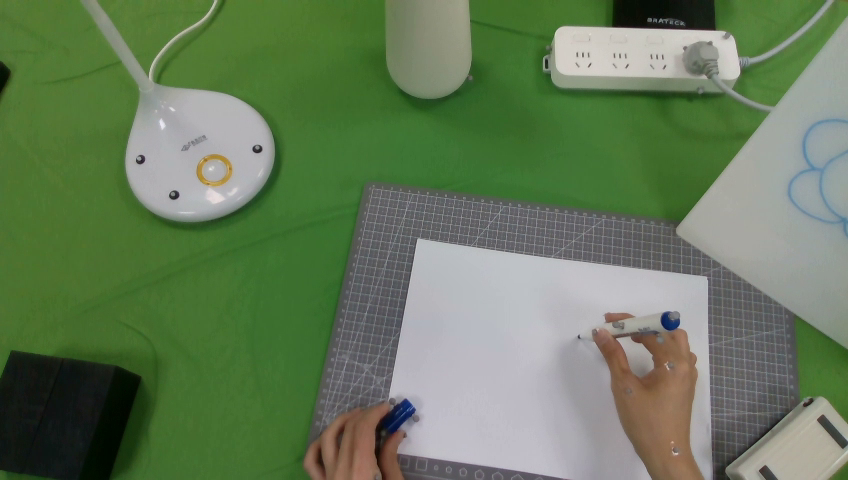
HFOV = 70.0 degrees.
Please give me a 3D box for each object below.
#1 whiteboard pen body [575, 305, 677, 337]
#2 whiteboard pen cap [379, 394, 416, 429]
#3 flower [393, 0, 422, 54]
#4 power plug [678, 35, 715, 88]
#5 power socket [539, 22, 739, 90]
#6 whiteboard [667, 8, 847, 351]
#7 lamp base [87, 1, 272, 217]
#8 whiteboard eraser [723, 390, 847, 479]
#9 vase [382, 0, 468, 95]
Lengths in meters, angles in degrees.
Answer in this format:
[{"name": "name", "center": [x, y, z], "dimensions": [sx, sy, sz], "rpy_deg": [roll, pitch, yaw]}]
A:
[{"name": "whiteboard pen body", "center": [0.170, 0.073, 0.530], "dimensions": [0.017, 0.141, 0.017], "rpy_deg": [4, 75, -16]}, {"name": "whiteboard pen cap", "center": [-0.024, 0.159, 0.562], "dimensions": [0.033, 0.018, 0.018], "rpy_deg": [-39, 71, -22]}, {"name": "flower", "center": [0.015, -0.263, 0.549], "dimensions": [0.044, 0.362, 0.038], "rpy_deg": [-34, 88, -21]}, {"name": "power plug", "center": [0.298, -0.192, 0.670], "dimensions": [0.035, 0.053, 0.072], "rpy_deg": [12, 75, 6]}, {"name": "power socket", "center": [0.250, -0.214, 0.703], "dimensions": [0.227, 0.033, 0.071], "rpy_deg": [3, 69, 1]}, {"name": "whiteboard", "center": [0.411, -0.077, 0.532], "dimensions": [0.216, 0.307, 0.143], "rpy_deg": [38, 52, 16]}, {"name": "lamp base", "center": [-0.259, -0.135, 0.599], "dimensions": [0.178, 0.181, 0.160], "rpy_deg": [39, 73, 18]}, {"name": "whiteboard eraser", "center": [0.321, 0.186, 0.533], "dimensions": [0.112, 0.042, 0.055], "rpy_deg": [-34, 70, -12]}, {"name": "vase", "center": [-0.001, -0.242, 0.628], "dimensions": [0.098, 0.201, 0.097], "rpy_deg": [-1, 67, 2]}]
